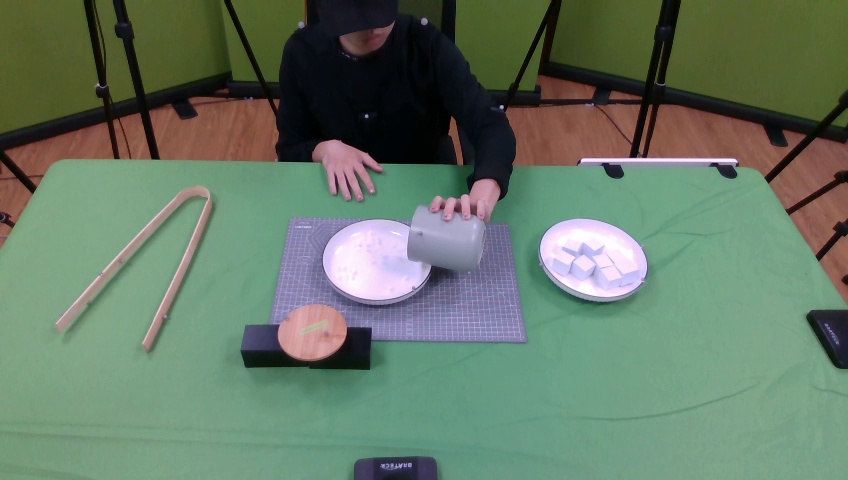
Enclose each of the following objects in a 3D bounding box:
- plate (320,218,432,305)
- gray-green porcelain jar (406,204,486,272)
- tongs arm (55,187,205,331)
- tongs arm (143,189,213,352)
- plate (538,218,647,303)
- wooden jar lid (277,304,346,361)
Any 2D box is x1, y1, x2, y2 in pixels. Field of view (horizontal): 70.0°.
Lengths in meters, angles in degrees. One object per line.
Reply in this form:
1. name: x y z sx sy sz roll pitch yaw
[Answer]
1. plate: -0.089 0.044 1.134 0.209 0.038 0.208 2 46 -2
2. gray-green porcelain jar: 0.042 -0.002 1.089 0.126 0.106 0.105 11 46 10
3. tongs arm: -0.530 0.023 1.126 0.051 0.026 0.383 15 46 8
4. tongs arm: -0.450 0.040 1.122 0.028 0.028 0.385 3 46 1
5. plate: 0.322 0.043 1.171 0.208 0.039 0.206 2 46 -2
6. wooden jar lid: -0.179 0.150 0.972 0.108 0.021 0.107 2 45 -2
